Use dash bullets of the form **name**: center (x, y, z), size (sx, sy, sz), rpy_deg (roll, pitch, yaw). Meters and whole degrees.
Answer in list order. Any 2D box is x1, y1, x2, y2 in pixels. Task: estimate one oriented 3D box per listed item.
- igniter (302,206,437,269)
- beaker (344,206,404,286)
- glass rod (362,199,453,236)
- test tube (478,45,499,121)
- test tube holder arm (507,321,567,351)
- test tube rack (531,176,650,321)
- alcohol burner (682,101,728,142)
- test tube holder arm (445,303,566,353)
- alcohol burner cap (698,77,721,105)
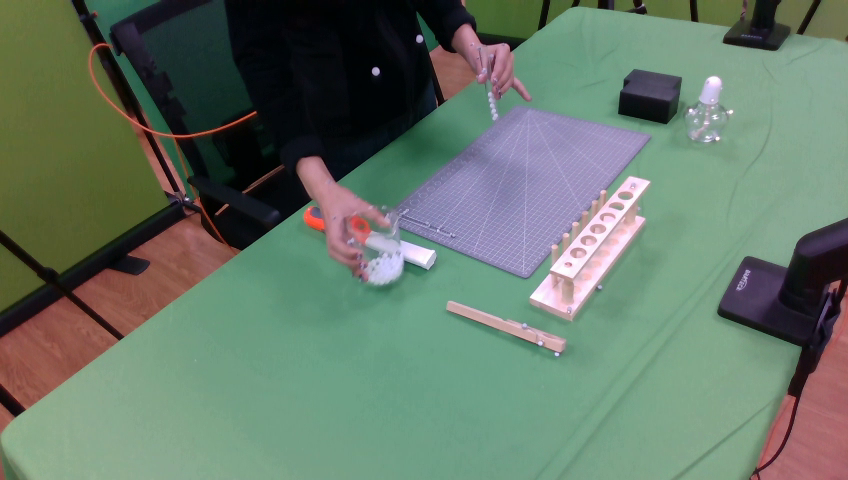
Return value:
- **igniter**: center (-0.101, -0.007, 1.005), size (0.274, 0.025, 0.057), rpy_deg (19, 57, 29)
- **beaker**: center (-0.067, 0.012, 0.883), size (0.074, 0.100, 0.083), rpy_deg (-34, 44, -32)
- **glass rod**: center (-0.031, -0.041, 1.041), size (0.198, 0.008, 0.008), rpy_deg (22, 50, 31)
- **test tube**: center (0.113, -0.267, 1.043), size (0.017, 0.151, 0.017), rpy_deg (-8, 47, 10)
- **test tube holder arm**: center (0.148, 0.128, 0.808), size (0.087, 0.015, 0.010), rpy_deg (16, 11, 28)
- **test tube rack**: center (0.246, 0.002, 0.884), size (0.066, 0.085, 0.243), rpy_deg (22, 49, 32)
- **alcohol burner**: center (0.513, -0.239, 1.097), size (0.078, 0.119, 0.077), rpy_deg (-4, 40, 4)
- **test tube holder arm**: center (0.107, 0.117, 0.824), size (0.177, 0.015, 0.013), rpy_deg (16, 11, 27)
- **alcohol burner cap**: center (0.509, -0.266, 1.072), size (0.034, 0.048, 0.033), rpy_deg (-4, 48, 4)
